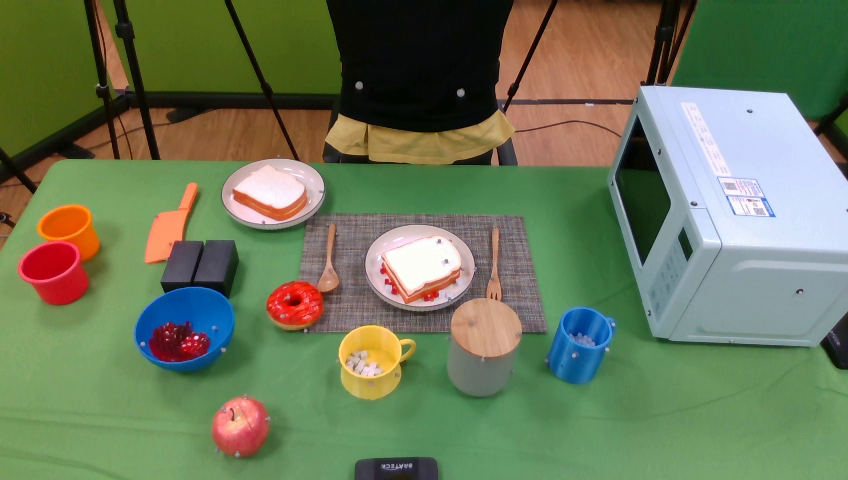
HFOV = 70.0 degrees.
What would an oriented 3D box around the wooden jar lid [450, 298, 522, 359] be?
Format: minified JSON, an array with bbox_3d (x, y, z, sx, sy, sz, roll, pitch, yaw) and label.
[{"bbox_3d":[0.093,0.135,0.914,0.108,0.021,0.107,3,48,-3],"label":"wooden jar lid"}]

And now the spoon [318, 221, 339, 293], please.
[{"bbox_3d":[-0.178,0.028,1.149,0.041,0.022,0.192,-18,46,13],"label":"spoon"}]

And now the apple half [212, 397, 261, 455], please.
[{"bbox_3d":[-0.276,0.277,0.877,0.053,0.075,0.080,-29,58,-21],"label":"apple half"}]

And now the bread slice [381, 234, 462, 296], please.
[{"bbox_3d":[0.001,0.039,1.108,0.134,0.018,0.106,-25,56,-22],"label":"bread slice"}]

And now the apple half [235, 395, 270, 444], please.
[{"bbox_3d":[-0.245,0.260,0.893,0.033,0.082,0.081,-29,55,-22],"label":"apple half"}]

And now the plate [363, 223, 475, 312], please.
[{"bbox_3d":[-0.009,0.054,1.126,0.208,0.039,0.206,2,46,-2],"label":"plate"}]

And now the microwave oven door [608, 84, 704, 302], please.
[{"bbox_3d":[0.424,-0.096,1.138,0.039,0.245,0.353,3,46,-1],"label":"microwave oven door"}]

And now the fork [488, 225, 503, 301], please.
[{"bbox_3d":[0.138,0.042,1.160,0.028,0.019,0.206,0,47,8],"label":"fork"}]

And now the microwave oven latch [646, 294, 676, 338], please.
[{"bbox_3d":[0.412,0.132,1.060,0.030,0.029,0.078,4,46,0],"label":"microwave oven latch"}]

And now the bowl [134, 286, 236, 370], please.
[{"bbox_3d":[-0.377,0.156,0.981,0.151,0.077,0.150,2,46,-2],"label":"bowl"}]

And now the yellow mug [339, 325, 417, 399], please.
[{"bbox_3d":[-0.072,0.191,0.978,0.131,0.064,0.099,-17,49,-20],"label":"yellow mug"}]

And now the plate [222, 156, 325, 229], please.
[{"bbox_3d":[-0.308,-0.095,1.251,0.209,0.038,0.208,2,47,-2],"label":"plate"}]

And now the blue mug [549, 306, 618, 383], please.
[{"bbox_3d":[0.269,0.167,0.997,0.116,0.106,0.082,-19,50,-21],"label":"blue mug"}]

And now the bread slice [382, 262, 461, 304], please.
[{"bbox_3d":[0.000,0.056,1.130,0.131,0.019,0.104,-23,51,-20],"label":"bread slice"}]

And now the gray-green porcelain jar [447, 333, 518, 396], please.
[{"bbox_3d":[0.091,0.178,0.960,0.106,0.127,0.105,2,46,-2],"label":"gray-green porcelain jar"}]

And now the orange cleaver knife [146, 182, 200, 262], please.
[{"bbox_3d":[-0.494,-0.039,1.199,0.077,0.012,0.210,-4,48,2],"label":"orange cleaver knife"}]

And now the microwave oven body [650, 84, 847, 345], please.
[{"bbox_3d":[0.569,-0.054,1.116,0.326,0.261,0.439,2,46,-1],"label":"microwave oven body"}]

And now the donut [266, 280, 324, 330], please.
[{"bbox_3d":[-0.223,0.112,1.051,0.099,0.048,0.098,2,46,-2],"label":"donut"}]
